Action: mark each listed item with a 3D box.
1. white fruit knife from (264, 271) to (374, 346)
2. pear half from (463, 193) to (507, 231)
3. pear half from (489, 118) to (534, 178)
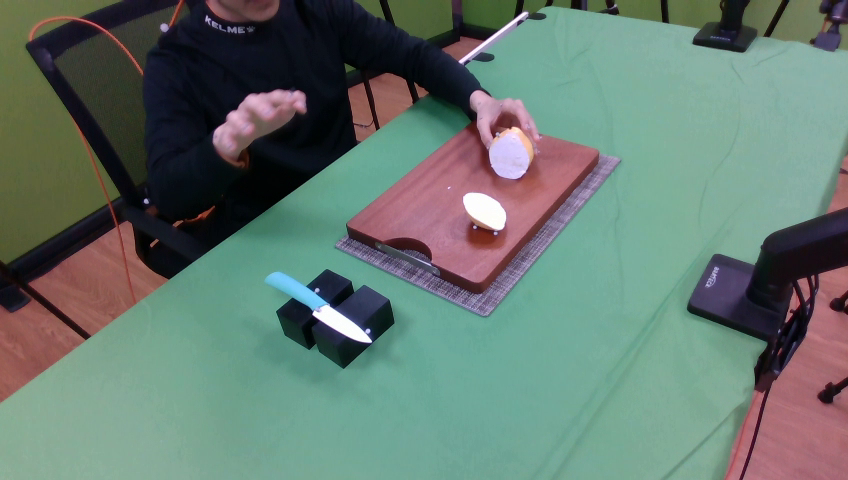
[{"bbox_3d":[-0.143,0.091,0.815,0.206,0.016,0.027,28,75,30],"label":"white fruit knife"},{"bbox_3d":[0.094,-0.038,0.947,0.071,0.031,0.087,-9,52,-25],"label":"pear half"},{"bbox_3d":[0.152,-0.165,1.028,0.076,0.110,0.056,12,45,16],"label":"pear half"}]
